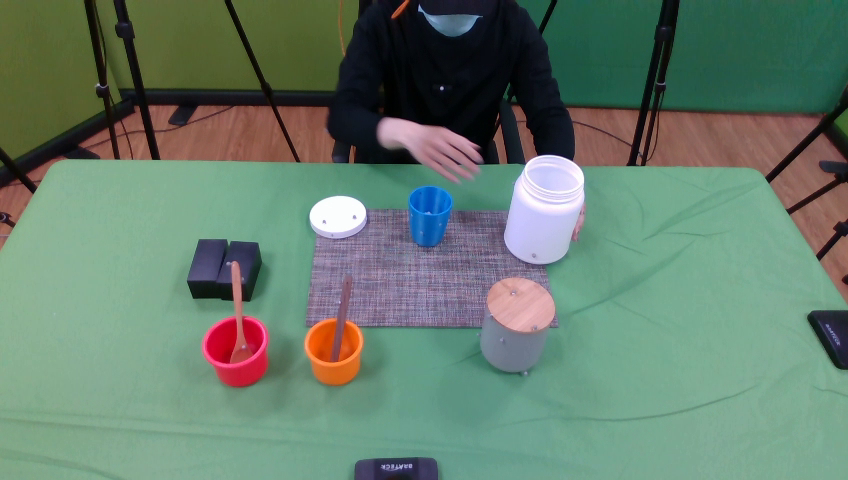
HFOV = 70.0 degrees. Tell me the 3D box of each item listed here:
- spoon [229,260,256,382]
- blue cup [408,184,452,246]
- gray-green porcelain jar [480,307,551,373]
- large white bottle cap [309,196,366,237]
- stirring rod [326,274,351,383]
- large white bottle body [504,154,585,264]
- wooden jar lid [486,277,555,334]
[{"bbox_3d":[-0.294,0.129,0.966,0.042,0.021,0.193,-4,91,-8],"label":"spoon"},{"bbox_3d":[0.008,-0.042,1.177,0.093,0.101,0.092,3,47,-3],"label":"blue cup"},{"bbox_3d":[0.148,0.148,0.992,0.106,0.127,0.105,2,46,-2],"label":"gray-green porcelain jar"},{"bbox_3d":[-0.176,-0.048,1.229,0.115,0.018,0.114,0,43,0],"label":"large white bottle cap"},{"bbox_3d":[-0.137,0.142,0.972,0.014,0.006,0.176,9,89,0],"label":"stirring rod"},{"bbox_3d":[0.229,-0.058,1.150,0.131,0.185,0.130,2,46,-2],"label":"large white bottle body"},{"bbox_3d":[0.150,0.105,0.948,0.108,0.021,0.107,3,47,-3],"label":"wooden jar lid"}]
